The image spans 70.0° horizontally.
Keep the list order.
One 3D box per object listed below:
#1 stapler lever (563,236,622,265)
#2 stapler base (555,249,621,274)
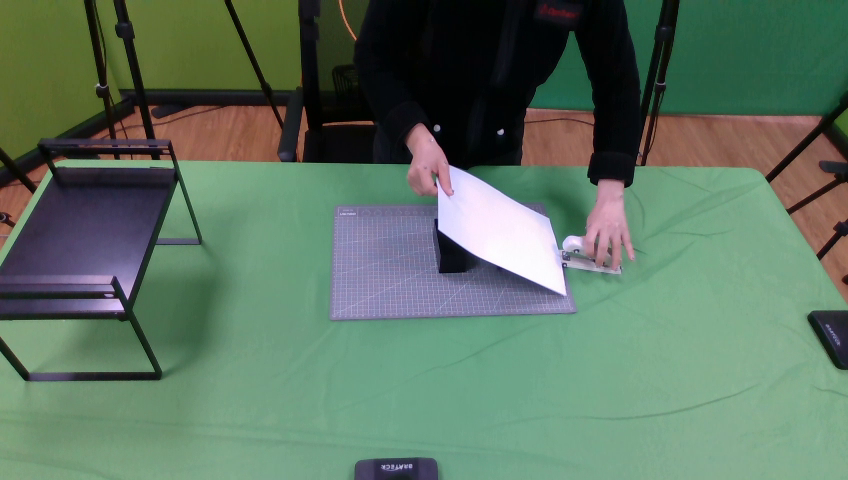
[{"bbox_3d":[0.326,0.019,1.165,0.118,0.040,0.026,9,50,0],"label":"stapler lever"},{"bbox_3d":[0.322,0.036,1.183,0.130,0.024,0.041,9,50,0],"label":"stapler base"}]
